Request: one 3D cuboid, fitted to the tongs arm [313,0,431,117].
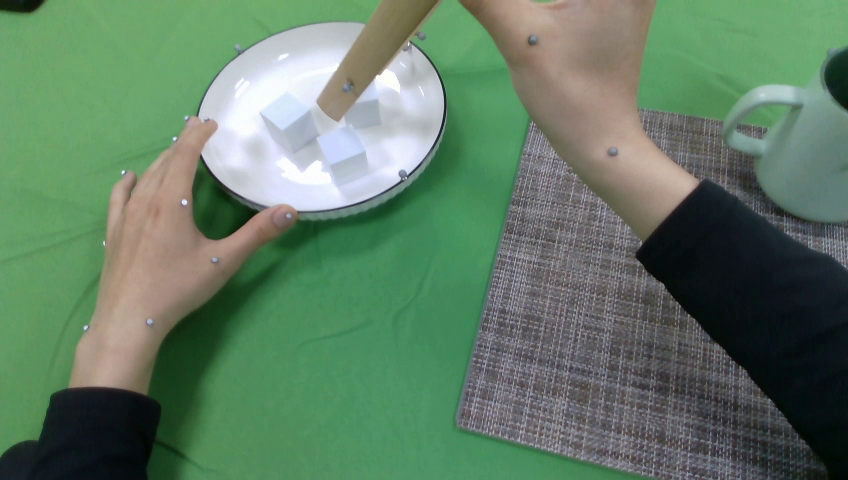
[{"bbox_3d":[0.004,-0.145,0.317,0.028,0.387,0.028,46,64,-11],"label":"tongs arm"}]

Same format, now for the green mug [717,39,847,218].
[{"bbox_3d":[0.278,-0.079,0.432,0.125,0.106,0.092,10,62,9],"label":"green mug"}]

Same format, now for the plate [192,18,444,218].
[{"bbox_3d":[-0.086,-0.103,0.512,0.209,0.038,0.207,-1,61,3],"label":"plate"}]

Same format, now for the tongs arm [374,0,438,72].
[{"bbox_3d":[0.023,-0.171,0.330,0.026,0.384,0.050,43,63,-12],"label":"tongs arm"}]
